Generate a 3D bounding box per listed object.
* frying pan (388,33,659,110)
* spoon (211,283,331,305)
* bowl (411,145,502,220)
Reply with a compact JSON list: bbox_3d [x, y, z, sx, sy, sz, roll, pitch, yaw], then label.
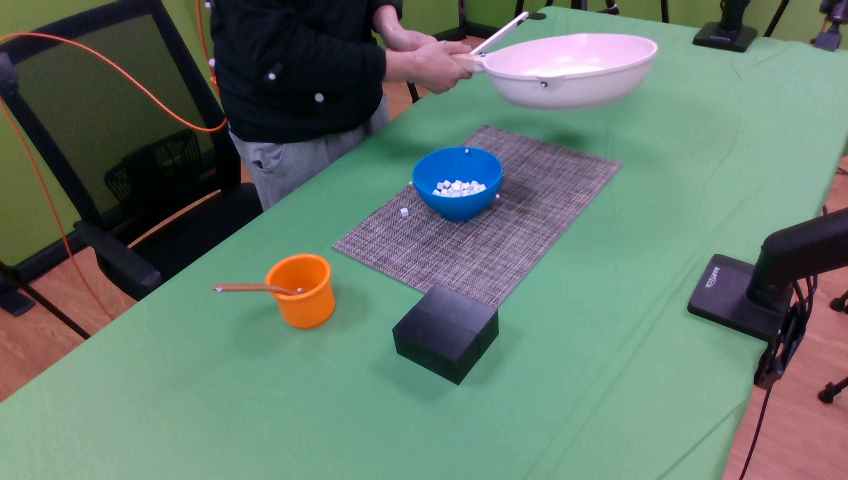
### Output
[{"bbox_3d":[0.160,-0.320,1.093,0.485,0.103,0.307,13,33,18],"label":"frying pan"},{"bbox_3d":[-0.201,0.069,0.819,0.041,0.195,0.021,32,99,37],"label":"spoon"},{"bbox_3d":[0.057,-0.086,1.010,0.151,0.077,0.150,-4,41,4],"label":"bowl"}]
